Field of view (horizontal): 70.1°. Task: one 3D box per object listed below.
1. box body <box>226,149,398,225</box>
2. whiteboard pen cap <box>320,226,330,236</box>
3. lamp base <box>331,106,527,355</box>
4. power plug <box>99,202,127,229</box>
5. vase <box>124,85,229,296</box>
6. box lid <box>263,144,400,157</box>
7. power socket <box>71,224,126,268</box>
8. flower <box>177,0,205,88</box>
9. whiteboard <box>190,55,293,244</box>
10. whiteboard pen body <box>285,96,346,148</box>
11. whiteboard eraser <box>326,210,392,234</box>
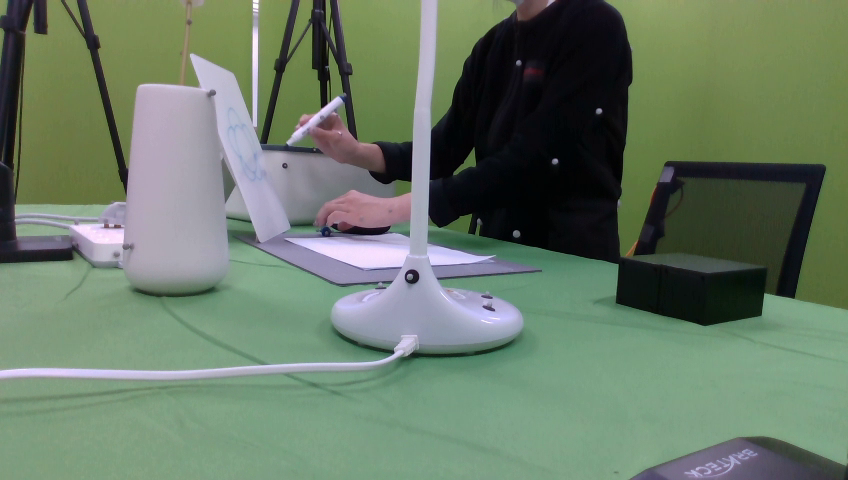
[{"bbox_3d":[-0.265,-0.129,1.380,0.253,0.160,0.366,8,9,39],"label":"box body"},{"bbox_3d":[-0.176,-0.016,1.075,0.018,0.018,0.033,1,5,-13],"label":"whiteboard pen cap"},{"bbox_3d":[0.006,-0.012,0.478,0.161,0.180,0.179,2,10,2],"label":"lamp base"},{"bbox_3d":[-0.415,-0.026,0.848,0.073,0.052,0.035,6,5,-28],"label":"power plug"},{"bbox_3d":[-0.244,-0.047,0.598,0.098,0.200,0.098,3,8,0],"label":"vase"},{"bbox_3d":[-0.263,-0.203,1.369,0.262,0.015,0.373,9,10,39],"label":"box lid"},{"bbox_3d":[-0.409,0.004,0.793,0.072,0.032,0.225,-2,8,-37],"label":"power socket"},{"bbox_3d":[-0.243,-0.131,0.609,0.044,0.361,0.038,-5,-12,11],"label":"flower"},{"bbox_3d":[-0.362,-0.129,1.029,0.144,0.305,0.217,-18,7,3],"label":"whiteboard"},{"bbox_3d":[-0.192,-0.206,1.064,0.141,0.017,0.017,-44,26,-16],"label":"whiteboard pen body"},{"bbox_3d":[-0.121,-0.033,1.131,0.112,0.042,0.056,4,8,13],"label":"whiteboard eraser"}]
